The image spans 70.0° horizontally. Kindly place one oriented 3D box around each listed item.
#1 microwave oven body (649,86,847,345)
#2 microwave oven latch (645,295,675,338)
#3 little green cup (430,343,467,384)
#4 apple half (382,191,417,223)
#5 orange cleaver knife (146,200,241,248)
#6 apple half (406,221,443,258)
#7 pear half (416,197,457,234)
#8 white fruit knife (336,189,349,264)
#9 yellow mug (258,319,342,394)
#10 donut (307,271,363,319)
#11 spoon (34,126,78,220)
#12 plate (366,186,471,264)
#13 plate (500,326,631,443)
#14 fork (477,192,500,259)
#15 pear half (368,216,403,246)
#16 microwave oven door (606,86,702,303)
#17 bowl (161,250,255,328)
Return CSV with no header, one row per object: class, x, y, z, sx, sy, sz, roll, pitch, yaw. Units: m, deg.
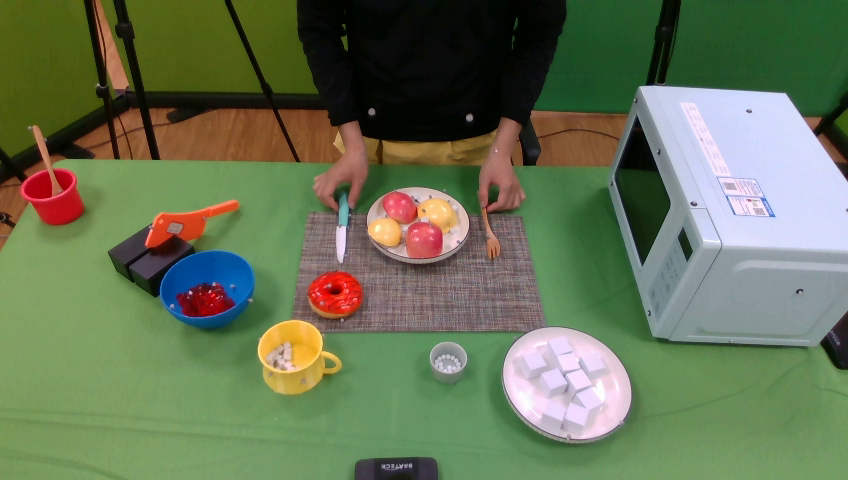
microwave oven body,0.567,-0.053,1.119,0.326,0.261,0.439,2,45,-1
microwave oven latch,0.412,0.134,1.061,0.030,0.029,0.078,3,45,0
little green cup,0.039,0.203,0.993,0.061,0.039,0.061,2,46,-2
apple half,-0.043,-0.072,1.225,0.081,0.033,0.081,19,41,-17
orange cleaver knife,-0.435,-0.033,1.157,0.012,0.077,0.211,31,26,19
apple half,0.001,-0.006,1.164,0.075,0.053,0.080,5,42,0
pear half,0.017,-0.065,1.226,0.076,0.056,0.109,-27,49,-32
white fruit knife,-0.164,-0.030,1.217,0.027,0.016,0.206,-21,46,17
yellow mug,-0.196,0.189,0.972,0.131,0.064,0.099,9,46,3
donut,-0.157,0.097,1.072,0.099,0.048,0.098,4,45,-4
spoon,-0.726,-0.132,1.188,0.041,0.021,0.194,-18,95,-20
plate,-0.013,-0.027,1.207,0.209,0.038,0.208,2,46,-2
plate,0.224,0.233,0.978,0.208,0.039,0.206,2,46,-2
fork,0.128,-0.033,1.239,0.028,0.019,0.206,1,46,-7
pear half,-0.070,-0.026,1.184,0.070,0.031,0.087,32,46,-2
microwave oven door,0.422,-0.094,1.140,0.039,0.245,0.353,2,46,-1
bowl,-0.362,0.097,1.040,0.151,0.077,0.150,2,45,-2
